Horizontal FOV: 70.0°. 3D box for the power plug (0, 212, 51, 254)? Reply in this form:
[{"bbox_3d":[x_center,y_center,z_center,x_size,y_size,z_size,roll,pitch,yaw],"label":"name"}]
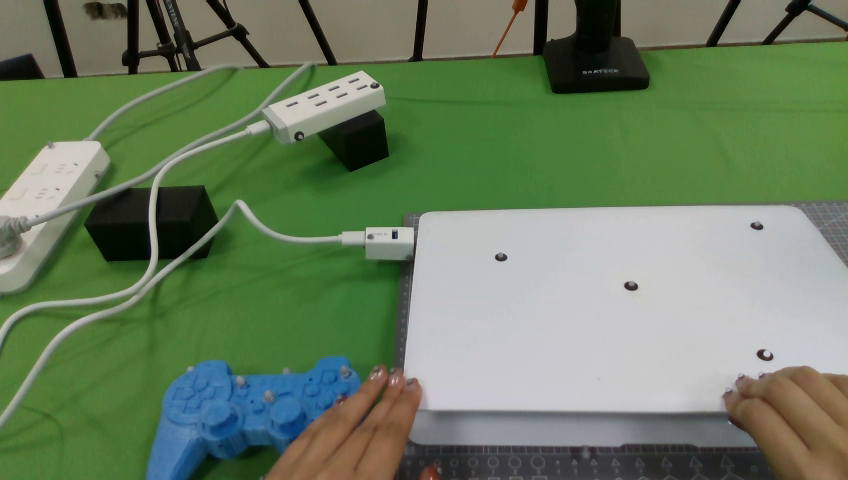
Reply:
[{"bbox_3d":[-0.377,0.001,0.560,0.072,0.053,0.035,10,46,11],"label":"power plug"}]

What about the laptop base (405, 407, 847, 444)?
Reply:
[{"bbox_3d":[0.166,0.060,0.501,0.354,0.023,0.233,-1,48,4],"label":"laptop base"}]

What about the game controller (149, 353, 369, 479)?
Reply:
[{"bbox_3d":[-0.116,0.126,0.438,0.155,0.052,0.096,-1,41,3],"label":"game controller"}]

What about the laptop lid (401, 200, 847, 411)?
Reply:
[{"bbox_3d":[0.164,0.037,0.479,0.356,0.013,0.239,0,38,5],"label":"laptop lid"}]

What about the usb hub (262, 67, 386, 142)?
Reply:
[{"bbox_3d":[-0.106,-0.147,0.656,0.125,0.025,0.049,-28,51,-20],"label":"usb hub"}]

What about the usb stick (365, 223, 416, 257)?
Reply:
[{"bbox_3d":[-0.024,0.000,0.554,0.059,0.027,0.021,2,44,-5],"label":"usb stick"}]

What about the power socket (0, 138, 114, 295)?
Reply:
[{"bbox_3d":[-0.401,-0.034,0.631,0.072,0.033,0.224,1,45,5],"label":"power socket"}]
